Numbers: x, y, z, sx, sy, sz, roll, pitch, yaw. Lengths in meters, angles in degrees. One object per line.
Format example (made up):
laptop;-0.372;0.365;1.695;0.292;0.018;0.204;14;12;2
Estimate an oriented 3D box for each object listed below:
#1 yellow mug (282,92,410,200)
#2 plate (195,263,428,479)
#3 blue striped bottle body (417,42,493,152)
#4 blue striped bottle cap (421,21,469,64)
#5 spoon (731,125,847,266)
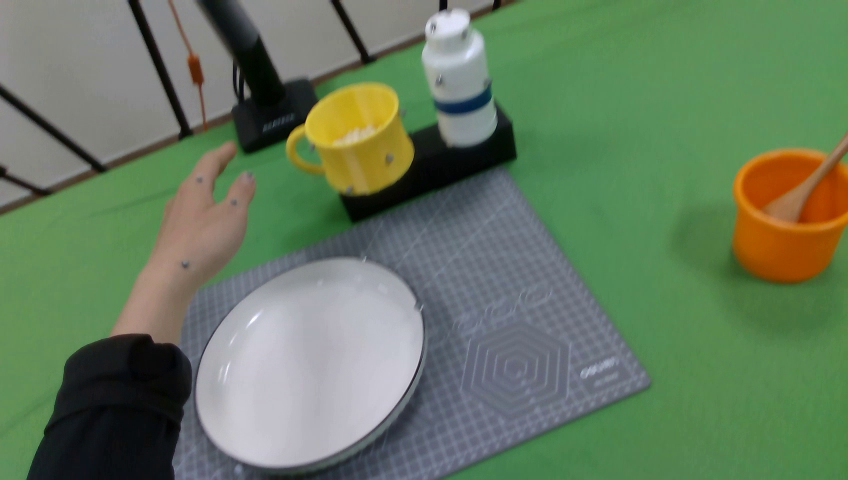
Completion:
yellow mug;-0.086;-0.096;0.638;0.131;0.064;0.099;-13;45;7
plate;-0.095;0.111;0.533;0.207;0.039;0.205;-9;46;9
blue striped bottle body;0.031;-0.154;0.615;0.063;0.122;0.062;-9;46;10
blue striped bottle cap;0.020;-0.189;0.578;0.044;0.021;0.044;-11;46;12
spoon;0.314;-0.060;0.481;0.194;0.022;0.041;-57;41;19
